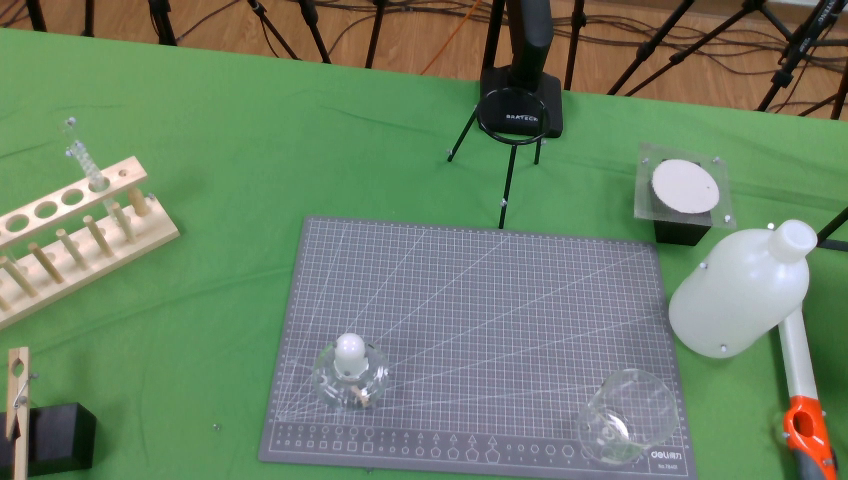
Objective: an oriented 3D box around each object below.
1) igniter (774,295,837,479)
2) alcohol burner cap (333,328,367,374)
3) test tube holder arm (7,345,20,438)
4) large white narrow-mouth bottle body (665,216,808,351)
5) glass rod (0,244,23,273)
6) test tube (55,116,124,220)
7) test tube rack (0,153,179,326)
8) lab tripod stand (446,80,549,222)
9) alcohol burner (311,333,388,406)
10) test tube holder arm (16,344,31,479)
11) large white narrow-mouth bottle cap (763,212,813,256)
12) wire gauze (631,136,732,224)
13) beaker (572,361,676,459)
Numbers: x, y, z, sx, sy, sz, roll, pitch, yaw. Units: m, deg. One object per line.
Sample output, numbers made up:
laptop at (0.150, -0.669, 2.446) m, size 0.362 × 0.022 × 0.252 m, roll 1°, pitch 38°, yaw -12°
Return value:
igniter at (0.417, 0.179, 0.670) m, size 0.057 × 0.025 × 0.274 m, roll 16°, pitch 58°, yaw -7°
alcohol burner cap at (-0.072, 0.103, 0.574) m, size 0.034 × 0.048 × 0.033 m, roll 1°, pitch 53°, yaw -2°
test tube holder arm at (-0.383, 0.141, 0.566) m, size 0.010 × 0.015 × 0.087 m, roll -10°, pitch 60°, yaw -21°
large white narrow-mouth bottle body at (0.341, 0.040, 0.649) m, size 0.102 × 0.196 × 0.101 m, roll 2°, pitch 58°, yaw -3°
glass rod at (-0.441, -0.027, 0.603) m, size 0.008 × 0.201 × 0.008 m, roll 4°, pitch 49°, yaw -4°
test tube at (-0.359, -0.072, 0.657) m, size 0.017 × 0.151 × 0.017 m, roll 1°, pitch 53°, yaw -1°
test tube rack at (-0.408, 0.005, 0.665) m, size 0.242 × 0.086 × 0.066 m, roll -32°, pitch 66°, yaw -22°
lab tripod stand at (0.099, -0.118, 0.760) m, size 0.148 × 0.132 × 0.147 m, roll 3°, pitch 59°, yaw -5°
alcohol burner at (-0.074, 0.122, 0.605) m, size 0.078 × 0.120 × 0.077 m, roll 4°, pitch 57°, yaw -5°
test tube holder arm at (-0.363, 0.177, 0.548) m, size 0.013 × 0.015 × 0.176 m, roll -10°, pitch 60°, yaw -21°
large white narrow-mouth bottle cap at (0.346, -0.006, 0.578) m, size 0.038 × 0.024 × 0.037 m, roll 2°, pitch 58°, yaw -3°
wire gauze at (0.325, -0.077, 0.771) m, size 0.121 × 0.011 × 0.124 m, roll 11°, pitch 58°, yaw 2°
beaker at (0.192, 0.174, 0.606) m, size 0.084 × 0.101 × 0.073 m, roll 2°, pitch 58°, yaw -3°
